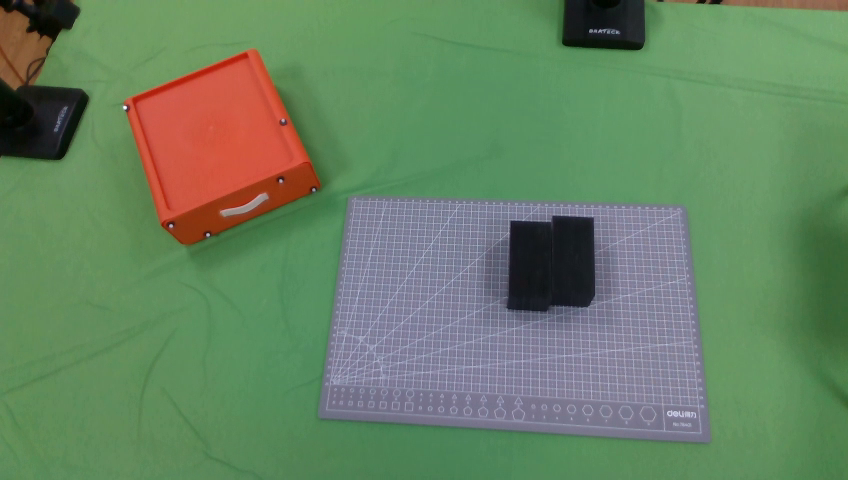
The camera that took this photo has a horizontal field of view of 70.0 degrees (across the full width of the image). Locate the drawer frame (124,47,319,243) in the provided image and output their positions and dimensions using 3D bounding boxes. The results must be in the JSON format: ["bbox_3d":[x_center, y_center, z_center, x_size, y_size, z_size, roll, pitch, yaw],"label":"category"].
[{"bbox_3d":[-0.277,-0.131,0.831,0.202,0.083,0.211,-26,66,-7],"label":"drawer frame"}]

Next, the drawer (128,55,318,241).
[{"bbox_3d":[-0.276,-0.130,0.831,0.194,0.074,0.210,-25,68,-6],"label":"drawer"}]

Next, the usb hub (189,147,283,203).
[{"bbox_3d":[-0.257,-0.090,0.828,0.125,0.025,0.049,-12,67,4],"label":"usb hub"}]
